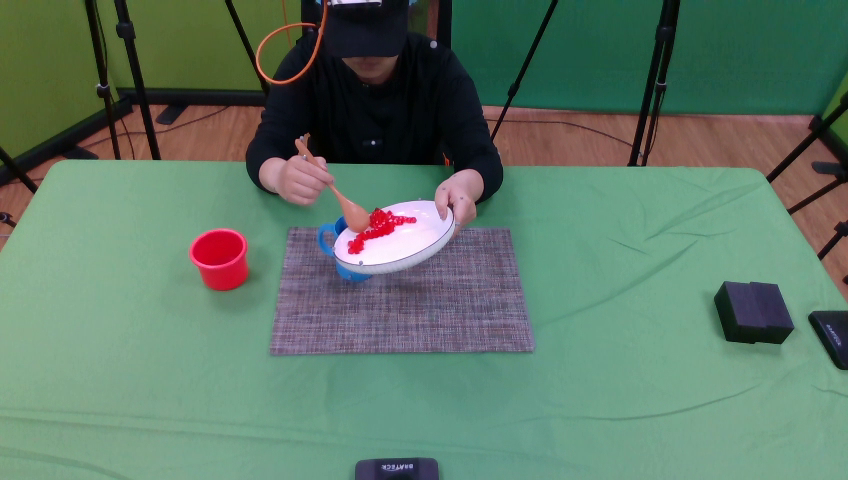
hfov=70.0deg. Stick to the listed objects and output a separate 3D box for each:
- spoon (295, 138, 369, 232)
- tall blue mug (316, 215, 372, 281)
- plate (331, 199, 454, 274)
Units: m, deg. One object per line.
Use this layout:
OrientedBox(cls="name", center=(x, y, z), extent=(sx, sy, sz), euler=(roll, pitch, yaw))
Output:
OrientedBox(cls="spoon", center=(-0.157, -0.090, 1.022), extent=(0.041, 0.194, 0.021), euler=(-39, 17, -6))
OrientedBox(cls="tall blue mug", center=(-0.141, 0.014, 1.109), extent=(0.107, 0.108, 0.077), euler=(-4, 47, -9))
OrientedBox(cls="plate", center=(-0.048, -0.002, 0.996), extent=(0.207, 0.039, 0.206), euler=(-13, 28, 7))
